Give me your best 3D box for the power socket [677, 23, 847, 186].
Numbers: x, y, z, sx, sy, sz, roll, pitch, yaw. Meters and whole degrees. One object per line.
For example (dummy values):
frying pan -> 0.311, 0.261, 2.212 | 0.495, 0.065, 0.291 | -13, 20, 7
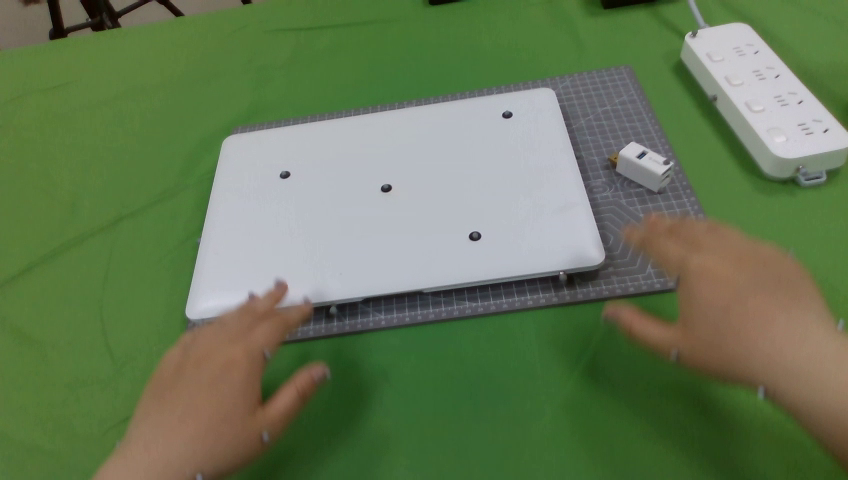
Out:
power socket -> 0.318, -0.141, 0.585 | 0.072, 0.033, 0.224 | -10, 49, 1

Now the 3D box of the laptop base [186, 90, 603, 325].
laptop base -> -0.034, -0.038, 0.573 | 0.354, 0.023, 0.233 | -8, 52, 4

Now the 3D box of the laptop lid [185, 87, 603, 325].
laptop lid -> -0.036, -0.044, 0.563 | 0.356, 0.013, 0.239 | -7, 51, 5

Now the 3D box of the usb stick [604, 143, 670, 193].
usb stick -> 0.190, -0.069, 0.549 | 0.021, 0.027, 0.058 | -37, 50, -21
